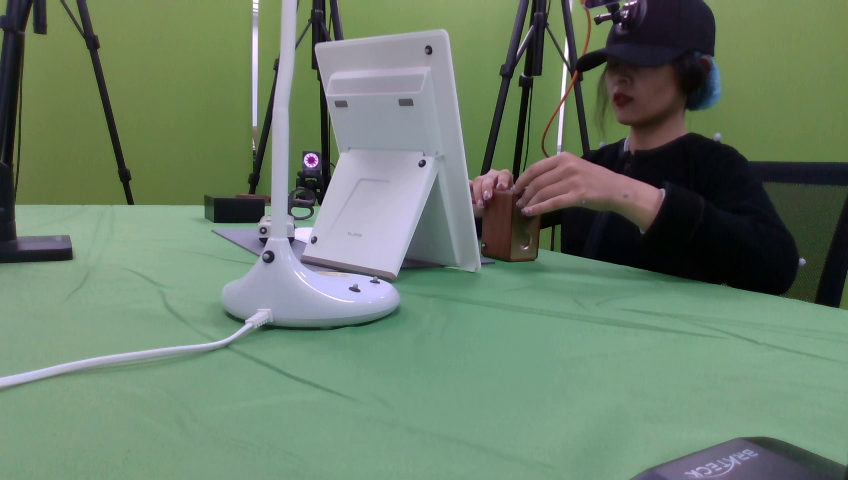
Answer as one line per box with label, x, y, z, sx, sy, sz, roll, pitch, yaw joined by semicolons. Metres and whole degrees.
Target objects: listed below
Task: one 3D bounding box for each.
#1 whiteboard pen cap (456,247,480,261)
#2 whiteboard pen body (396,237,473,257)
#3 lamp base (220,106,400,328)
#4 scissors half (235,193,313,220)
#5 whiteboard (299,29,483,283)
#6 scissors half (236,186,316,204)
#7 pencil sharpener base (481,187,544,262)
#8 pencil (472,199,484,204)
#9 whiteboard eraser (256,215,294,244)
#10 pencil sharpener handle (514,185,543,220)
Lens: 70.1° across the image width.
whiteboard pen cap;0.060;0.020;0.850;0.033;0.018;0.018;9;10;37
whiteboard pen body;0.014;0.012;0.886;0.140;0.017;0.017;10;10;38
lamp base;-0.101;-0.023;0.531;0.160;0.180;0.179;4;10;10
scissors half;-0.325;-0.077;1.319;0.176;0.040;0.012;17;6;-31
whiteboard;-0.074;-0.082;0.742;0.216;0.305;0.144;9;30;38
scissors half;-0.320;-0.097;1.316;0.176;0.040;0.013;-3;11;-29
pencil sharpener base;0.134;-0.024;0.913;0.062;0.107;0.076;-2;9;-34
pencil;0.092;-0.062;0.977;0.012;0.012;0.193;-3;8;-35
whiteboard eraser;-0.232;-0.016;0.951;0.056;0.042;0.112;2;7;-12
pencil sharpener handle;0.154;-0.054;0.860;0.068;0.036;0.030;44;-17;-31
